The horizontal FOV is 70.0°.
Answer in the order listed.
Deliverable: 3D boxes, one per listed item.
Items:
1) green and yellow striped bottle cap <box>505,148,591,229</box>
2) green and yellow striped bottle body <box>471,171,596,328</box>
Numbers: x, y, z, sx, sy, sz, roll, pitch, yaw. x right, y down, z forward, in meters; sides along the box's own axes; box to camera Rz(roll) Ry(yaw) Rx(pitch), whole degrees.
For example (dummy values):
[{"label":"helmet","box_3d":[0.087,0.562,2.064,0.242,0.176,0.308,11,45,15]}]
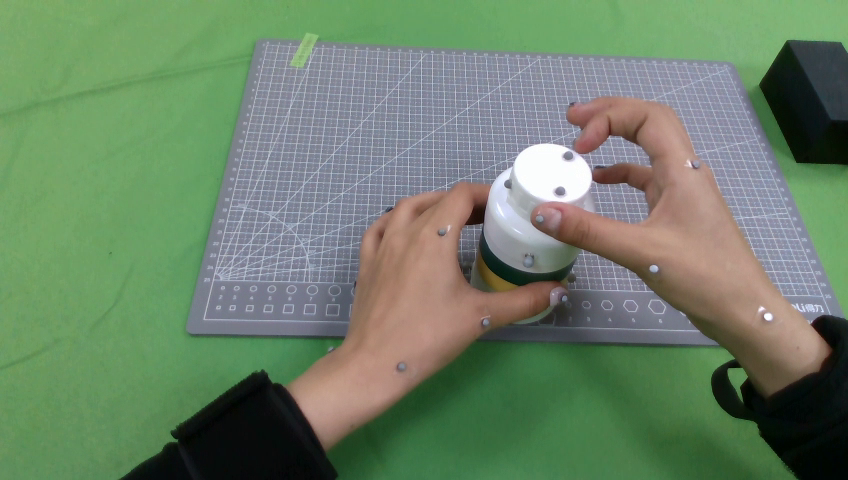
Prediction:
[{"label":"green and yellow striped bottle cap","box_3d":[0.068,-0.029,0.333,0.045,0.020,0.045,4,54,-5]},{"label":"green and yellow striped bottle body","box_3d":[0.066,0.001,0.375,0.063,0.120,0.062,2,55,-2]}]
